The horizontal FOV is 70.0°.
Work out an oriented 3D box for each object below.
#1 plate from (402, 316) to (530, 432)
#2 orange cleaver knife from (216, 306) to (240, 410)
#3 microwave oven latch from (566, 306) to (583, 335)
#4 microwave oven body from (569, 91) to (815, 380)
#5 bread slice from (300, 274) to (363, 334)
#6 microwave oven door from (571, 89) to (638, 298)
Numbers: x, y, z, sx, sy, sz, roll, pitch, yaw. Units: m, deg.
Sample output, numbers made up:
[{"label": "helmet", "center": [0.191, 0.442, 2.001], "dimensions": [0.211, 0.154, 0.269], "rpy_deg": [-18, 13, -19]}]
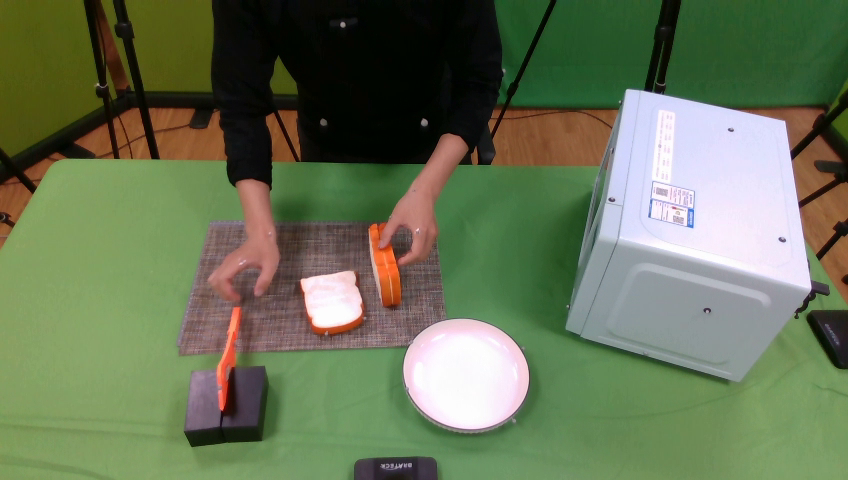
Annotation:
[{"label": "plate", "center": [0.066, 0.217, 0.982], "dimensions": [0.208, 0.039, 0.206], "rpy_deg": [2, 46, -2]}, {"label": "orange cleaver knife", "center": [-0.307, 0.180, 0.957], "dimensions": [0.012, 0.077, 0.210], "rpy_deg": [-2, 25, -8]}, {"label": "microwave oven latch", "center": [0.268, 0.126, 1.059], "dimensions": [0.030, 0.029, 0.079], "rpy_deg": [16, 46, 13]}, {"label": "microwave oven body", "center": [0.468, -0.022, 1.082], "dimensions": [0.325, 0.261, 0.440], "rpy_deg": [15, 46, 11]}, {"label": "bread slice", "center": [-0.164, 0.113, 1.076], "dimensions": [0.107, 0.018, 0.133], "rpy_deg": [-11, 38, -7]}, {"label": "microwave oven door", "center": [0.343, -0.091, 1.132], "dimensions": [0.039, 0.245, 0.354], "rpy_deg": [15, 47, 10]}]
